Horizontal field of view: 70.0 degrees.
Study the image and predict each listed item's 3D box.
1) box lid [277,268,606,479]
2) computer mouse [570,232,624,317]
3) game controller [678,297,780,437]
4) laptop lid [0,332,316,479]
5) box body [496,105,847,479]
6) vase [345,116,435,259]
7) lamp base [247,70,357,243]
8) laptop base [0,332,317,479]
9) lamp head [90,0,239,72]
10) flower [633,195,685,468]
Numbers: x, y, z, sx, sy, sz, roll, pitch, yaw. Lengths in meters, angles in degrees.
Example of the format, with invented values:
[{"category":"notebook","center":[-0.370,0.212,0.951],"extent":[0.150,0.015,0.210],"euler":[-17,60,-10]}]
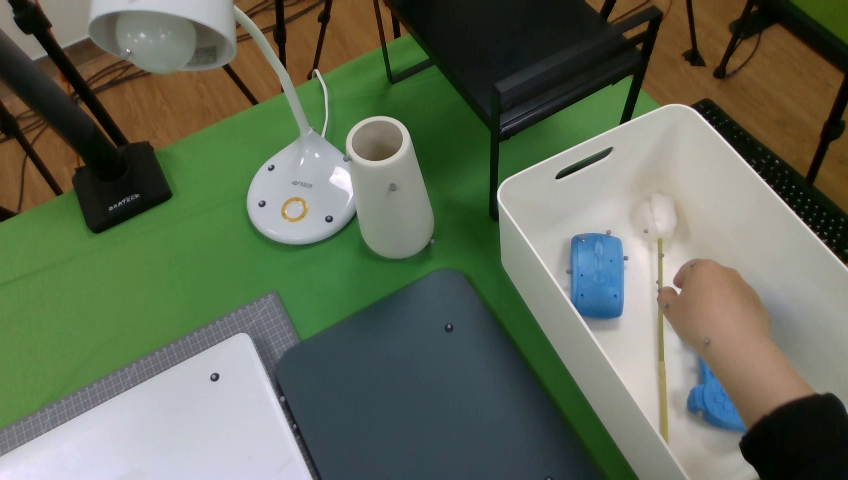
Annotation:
[{"category":"box lid","center":[0.016,0.218,0.678],"extent":[0.263,0.015,0.368],"euler":[-28,62,-12]},{"category":"computer mouse","center":[0.211,0.039,0.742],"extent":[0.062,0.041,0.116],"euler":[4,57,11]},{"category":"game controller","center":[0.339,0.133,0.673],"extent":[0.097,0.052,0.154],"euler":[3,60,8]},{"category":"laptop lid","center":[-0.311,0.275,0.655],"extent":[0.357,0.013,0.239],"euler":[-26,64,-10]},{"category":"box body","center":[0.268,0.064,0.658],"extent":[0.254,0.162,0.360],"euler":[-26,62,-9]},{"category":"vase","center":[-0.042,-0.058,0.731],"extent":[0.098,0.202,0.097],"euler":[-3,59,5]},{"category":"lamp base","center":[-0.172,-0.114,0.784],"extent":[0.160,0.182,0.177],"euler":[2,58,6]},{"category":"laptop base","center":[-0.311,0.278,0.666],"extent":[0.354,0.023,0.233],"euler":[-28,66,-11]},{"category":"lamp head","center":[-0.207,-0.212,0.497],"extent":[0.112,0.113,0.122],"euler":[-1,78,4]},{"category":"flower","center":[0.282,0.105,0.708],"extent":[0.044,0.038,0.358],"euler":[-13,56,29]}]
